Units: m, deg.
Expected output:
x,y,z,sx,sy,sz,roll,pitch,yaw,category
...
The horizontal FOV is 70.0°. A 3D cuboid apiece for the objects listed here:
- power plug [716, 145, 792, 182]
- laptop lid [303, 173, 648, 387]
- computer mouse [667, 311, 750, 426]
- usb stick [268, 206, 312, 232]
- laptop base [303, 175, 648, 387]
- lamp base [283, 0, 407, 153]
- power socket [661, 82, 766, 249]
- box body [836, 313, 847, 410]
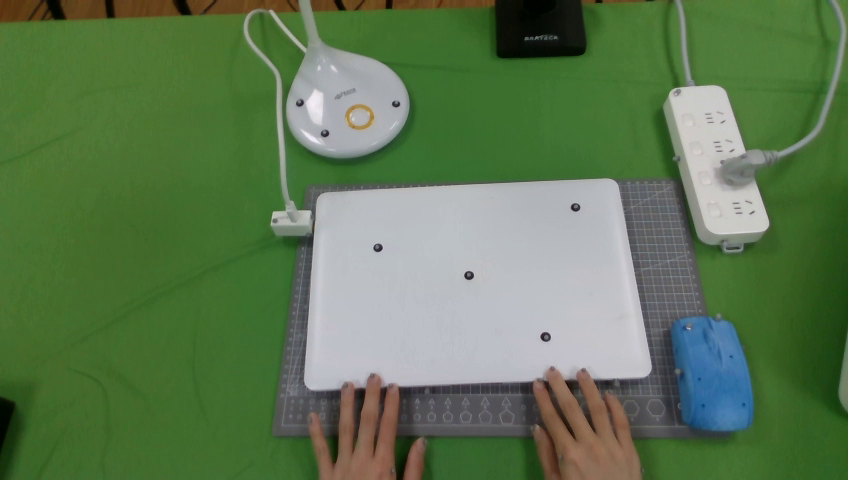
x,y,z,sx,sy,sz,roll,pitch,yaw,category
0.365,-0.080,0.676,0.072,0.053,0.035,7,62,6,power plug
0.048,0.036,0.657,0.356,0.013,0.239,-1,65,3,laptop lid
0.280,0.123,0.598,0.063,0.041,0.116,2,59,6,computer mouse
-0.147,-0.024,0.699,0.059,0.027,0.021,2,57,1,usb stick
0.049,0.039,0.668,0.354,0.023,0.233,-3,66,2,laptop base
-0.115,-0.224,0.723,0.160,0.182,0.177,-36,63,-15,lamp base
0.336,-0.096,0.712,0.072,0.033,0.224,-2,62,1,power socket
0.567,0.031,0.559,0.253,0.162,0.362,21,66,14,box body
